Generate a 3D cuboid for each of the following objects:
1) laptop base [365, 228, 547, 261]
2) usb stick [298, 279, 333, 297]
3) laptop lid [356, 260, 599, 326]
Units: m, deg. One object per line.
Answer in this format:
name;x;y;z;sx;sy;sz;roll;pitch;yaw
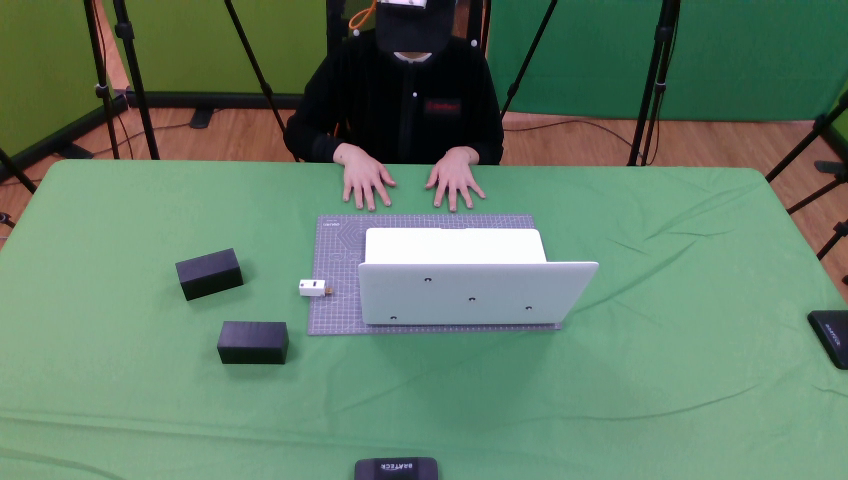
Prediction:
laptop base;0.064;0.063;1.143;0.355;0.023;0.234;0;42;-4
usb stick;-0.195;0.087;1.092;0.059;0.027;0.021;5;46;-3
laptop lid;0.074;0.089;0.958;0.357;0.242;0.013;1;60;-5
